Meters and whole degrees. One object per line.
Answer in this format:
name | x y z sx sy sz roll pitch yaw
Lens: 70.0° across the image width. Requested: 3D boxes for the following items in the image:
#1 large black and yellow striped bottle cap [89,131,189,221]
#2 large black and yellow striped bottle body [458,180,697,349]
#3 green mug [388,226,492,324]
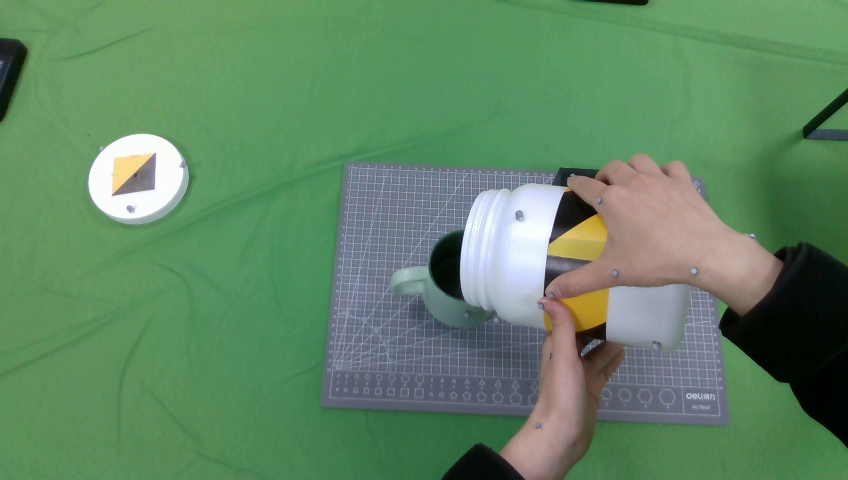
large black and yellow striped bottle cap | -0.347 -0.080 0.738 0.115 0.019 0.114 1 70 -1
large black and yellow striped bottle body | 0.133 0.017 0.535 0.183 0.132 0.130 9 70 20
green mug | 0.023 0.040 0.658 0.125 0.105 0.092 -4 72 -3
